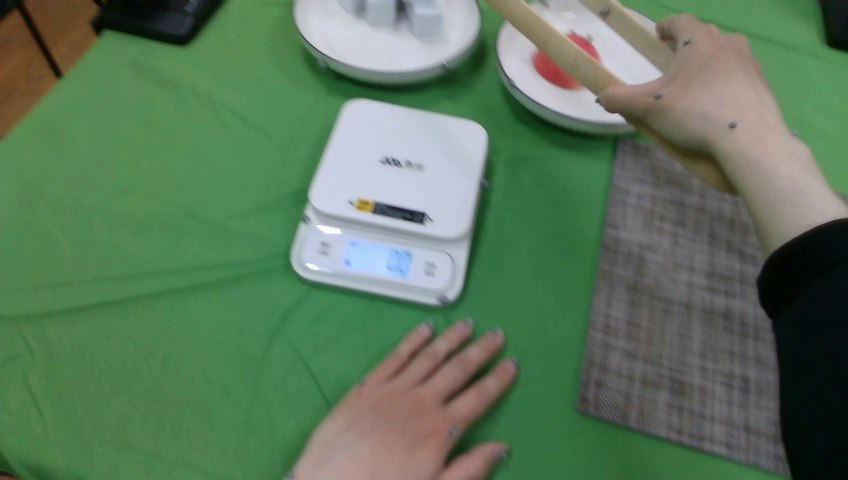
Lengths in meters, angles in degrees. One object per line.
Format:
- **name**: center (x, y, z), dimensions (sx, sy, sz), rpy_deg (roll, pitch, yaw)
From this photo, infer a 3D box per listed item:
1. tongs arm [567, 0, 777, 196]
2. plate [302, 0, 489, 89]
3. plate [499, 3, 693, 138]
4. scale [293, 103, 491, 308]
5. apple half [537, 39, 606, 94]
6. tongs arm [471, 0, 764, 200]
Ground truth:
- **tongs arm**: center (0.161, -0.181, 0.536), dimensions (0.051, 0.027, 0.381), rpy_deg (-23, 59, -24)
- **plate**: center (-0.032, -0.240, 0.689), dimensions (0.208, 0.039, 0.205), rpy_deg (2, 55, -2)
- **plate**: center (0.185, -0.183, 0.665), dimensions (0.209, 0.038, 0.207), rpy_deg (2, 55, -3)
- **scale**: center (-0.023, -0.039, 0.554), dimensions (0.148, 0.032, 0.199), rpy_deg (11, 56, 4)
- **apple half**: center (0.168, -0.198, 0.667), dimensions (0.081, 0.033, 0.080), rpy_deg (1, 52, -1)
- **tongs arm**: center (0.117, -0.162, 0.516), dimensions (0.028, 0.028, 0.384), rpy_deg (-25, 59, -29)
